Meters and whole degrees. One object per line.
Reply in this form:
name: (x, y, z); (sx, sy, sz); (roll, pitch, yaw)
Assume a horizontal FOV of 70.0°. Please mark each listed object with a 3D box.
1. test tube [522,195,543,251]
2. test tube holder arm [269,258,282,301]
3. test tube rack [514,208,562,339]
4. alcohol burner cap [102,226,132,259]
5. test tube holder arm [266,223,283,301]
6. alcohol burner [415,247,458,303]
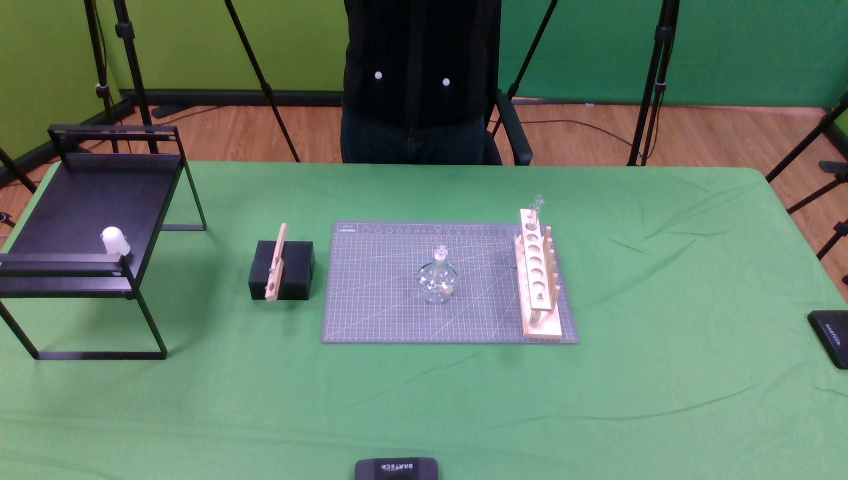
test tube: (0.200, -0.028, 1.125); (0.017, 0.151, 0.017); (1, 50, -1)
test tube holder arm: (-0.257, 0.067, 1.049); (0.010, 0.015, 0.087); (-4, 46, -1)
test tube rack: (0.212, 0.056, 1.113); (0.067, 0.085, 0.241); (3, 46, -1)
alcohol burner cap: (-0.457, 0.001, 0.897); (0.034, 0.048, 0.033); (1, 46, -1)
test tube holder arm: (-0.266, 0.035, 1.080); (0.013, 0.015, 0.177); (-5, 46, -2)
alcohol burner: (0.024, 0.057, 1.078); (0.078, 0.119, 0.077); (3, 44, -3)
